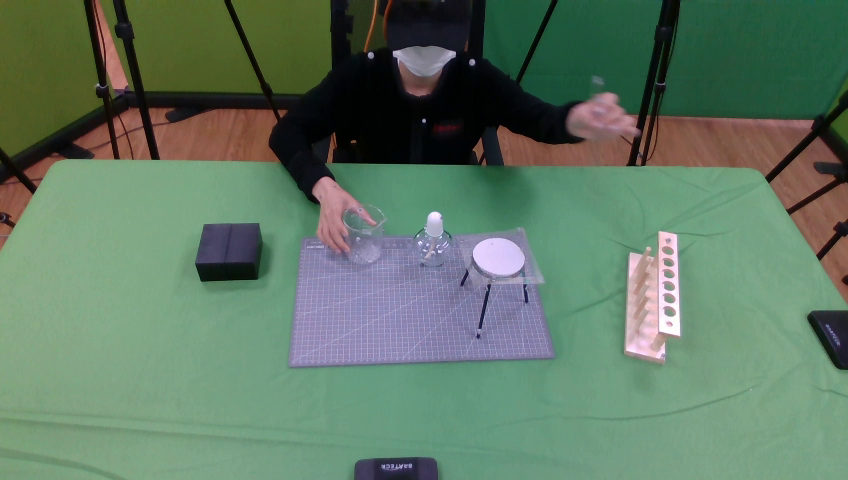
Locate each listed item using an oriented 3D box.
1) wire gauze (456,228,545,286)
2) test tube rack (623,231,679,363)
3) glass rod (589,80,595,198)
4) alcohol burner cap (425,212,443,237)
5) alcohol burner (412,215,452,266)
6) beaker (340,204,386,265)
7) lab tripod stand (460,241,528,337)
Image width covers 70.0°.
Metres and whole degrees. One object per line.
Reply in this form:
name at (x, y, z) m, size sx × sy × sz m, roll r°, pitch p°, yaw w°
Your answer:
wire gauze at (0.126, 0.028, 1.006) m, size 0.125 × 0.011 × 0.120 m, roll -4°, pitch 46°, yaw -10°
test tube rack at (0.410, 0.094, 1.096) m, size 0.066 × 0.085 × 0.241 m, roll 13°, pitch 46°, yaw 9°
glass rod at (0.268, -0.156, 0.965) m, size 0.008 × 0.200 × 0.008 m, roll -6°, pitch 30°, yaw 4°
alcohol burner cap at (0.019, -0.032, 1.114) m, size 0.034 × 0.048 × 0.033 m, roll 1°, pitch 48°, yaw 0°
alcohol burner at (0.017, -0.006, 1.139) m, size 0.078 × 0.119 × 0.077 m, roll 2°, pitch 48°, yaw -2°
beaker at (-0.114, -0.008, 1.140) m, size 0.084 × 0.101 × 0.073 m, roll -2°, pitch 46°, yaw -7°
lab tripod stand at (0.122, 0.075, 1.054) m, size 0.148 × 0.132 × 0.147 m, roll 3°, pitch 44°, yaw -3°
